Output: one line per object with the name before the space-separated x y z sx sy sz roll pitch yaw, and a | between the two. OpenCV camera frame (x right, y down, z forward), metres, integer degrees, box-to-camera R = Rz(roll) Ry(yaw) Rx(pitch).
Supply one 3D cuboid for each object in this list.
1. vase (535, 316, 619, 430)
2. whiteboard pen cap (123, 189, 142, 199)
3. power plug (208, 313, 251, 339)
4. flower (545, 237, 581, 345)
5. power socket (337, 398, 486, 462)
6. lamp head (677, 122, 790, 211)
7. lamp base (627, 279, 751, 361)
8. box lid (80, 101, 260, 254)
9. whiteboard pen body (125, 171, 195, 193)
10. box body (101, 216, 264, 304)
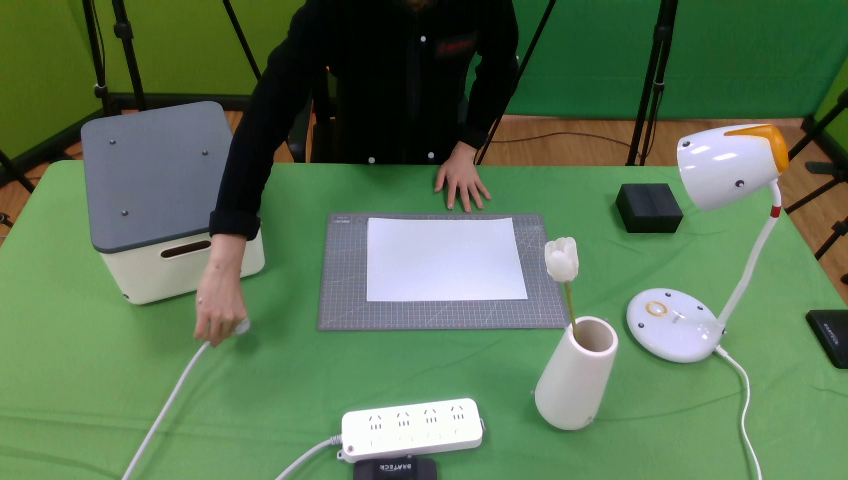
vase | 0.229 0.200 0.900 0.098 0.201 0.097 3 46 -3
whiteboard pen cap | -0.591 -0.093 1.231 0.033 0.018 0.018 -13 49 -18
power plug | -0.323 0.144 1.002 0.072 0.053 0.035 -17 65 -25
flower | 0.213 0.137 0.846 0.038 0.364 0.044 21 55 39
power socket | -0.017 0.286 0.914 0.227 0.033 0.071 -4 46 -8
lamp head | 0.423 -0.104 0.819 0.122 0.113 0.112 -13 33 40
lamp base | 0.460 0.100 1.027 0.178 0.181 0.160 27 51 17
box lid | -0.461 -0.127 1.082 0.264 0.015 0.369 -15 49 -19
whiteboard pen body | -0.553 -0.119 1.270 0.141 0.017 0.017 -18 50 -15
box body | -0.465 -0.077 1.137 0.254 0.161 0.361 -16 50 -19
